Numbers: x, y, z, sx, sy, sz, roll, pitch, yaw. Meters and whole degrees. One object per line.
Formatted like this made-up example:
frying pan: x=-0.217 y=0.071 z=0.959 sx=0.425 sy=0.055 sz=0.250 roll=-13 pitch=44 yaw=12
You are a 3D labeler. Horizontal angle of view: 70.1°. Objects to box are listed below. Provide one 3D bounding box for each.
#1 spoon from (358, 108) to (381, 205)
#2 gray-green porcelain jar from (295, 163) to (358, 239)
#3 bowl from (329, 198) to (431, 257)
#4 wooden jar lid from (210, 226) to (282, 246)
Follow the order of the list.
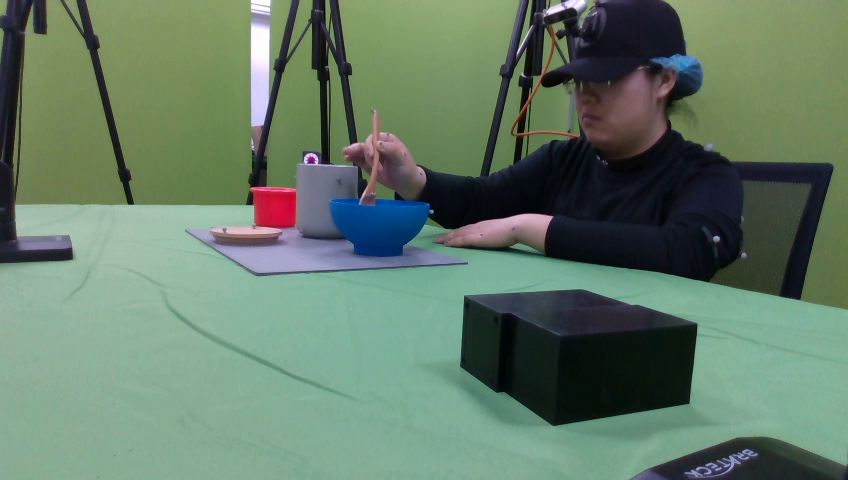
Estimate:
spoon: x=-0.077 y=-0.110 z=0.921 sx=0.021 sy=0.193 sz=0.042 roll=-1 pitch=-14 yaw=36
gray-green porcelain jar: x=-0.170 y=-0.069 z=1.054 sx=0.106 sy=0.126 sz=0.106 roll=3 pitch=7 yaw=0
bowl: x=-0.066 y=-0.019 z=0.894 sx=0.151 sy=0.077 sz=0.151 roll=3 pitch=7 yaw=0
wooden jar lid: x=-0.279 y=-0.007 z=0.951 sx=0.108 sy=0.020 sz=0.108 roll=2 pitch=8 yaw=0
